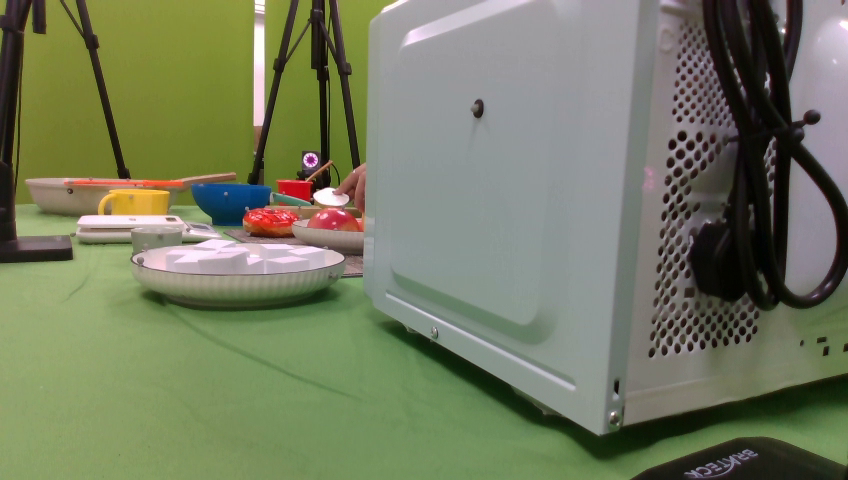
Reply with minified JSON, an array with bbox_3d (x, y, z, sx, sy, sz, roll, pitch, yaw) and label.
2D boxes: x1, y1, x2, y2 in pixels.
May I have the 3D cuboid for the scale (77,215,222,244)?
[{"bbox_3d":[-0.434,-0.019,0.963,0.202,0.031,0.148,-1,9,-27],"label":"scale"}]

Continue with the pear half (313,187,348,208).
[{"bbox_3d":[-0.189,-0.077,1.208,0.071,0.031,0.087,14,23,-16],"label":"pear half"}]

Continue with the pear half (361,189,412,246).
[{"bbox_3d":[-0.056,-0.049,0.911,0.076,0.056,0.109,3,47,-17],"label":"pear half"}]

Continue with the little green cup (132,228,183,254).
[{"bbox_3d":[-0.342,0.006,0.779,0.061,0.038,0.061,2,8,0],"label":"little green cup"}]

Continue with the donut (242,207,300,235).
[{"bbox_3d":[-0.263,-0.032,1.039,0.099,0.048,0.099,4,9,0],"label":"donut"}]

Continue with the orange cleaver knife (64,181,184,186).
[{"bbox_3d":[-0.595,-0.114,1.212,0.212,0.012,0.077,-4,7,-41],"label":"orange cleaver knife"}]

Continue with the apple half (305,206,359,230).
[{"bbox_3d":[-0.137,-0.024,0.914,0.081,0.053,0.074,1,9,-37],"label":"apple half"}]

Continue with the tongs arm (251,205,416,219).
[{"bbox_3d":[-0.211,-0.067,1.440,0.389,0.027,0.028,0,-1,-17],"label":"tongs arm"}]

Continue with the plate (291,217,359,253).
[{"bbox_3d":[-0.103,-0.009,0.945,0.209,0.038,0.209,2,7,0],"label":"plate"}]

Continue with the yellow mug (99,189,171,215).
[{"bbox_3d":[-0.519,-0.055,1.080,0.099,0.064,0.131,7,10,26],"label":"yellow mug"}]

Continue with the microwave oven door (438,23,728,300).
[{"bbox_3d":[0.181,-0.073,0.621,0.358,0.243,0.039,-2,8,-29],"label":"microwave oven door"}]

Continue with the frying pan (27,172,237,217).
[{"bbox_3d":[-0.624,-0.118,1.387,0.305,0.102,0.490,8,17,32],"label":"frying pan"}]

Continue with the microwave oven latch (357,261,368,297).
[{"bbox_3d":[-0.019,0.033,0.531,0.079,0.029,0.030,-1,7,-27],"label":"microwave oven latch"}]

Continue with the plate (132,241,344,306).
[{"bbox_3d":[-0.187,0.033,0.625,0.208,0.039,0.207,2,8,0],"label":"plate"}]

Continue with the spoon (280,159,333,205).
[{"bbox_3d":[-0.317,-0.159,1.640,0.194,0.022,0.041,-49,31,-20],"label":"spoon"}]

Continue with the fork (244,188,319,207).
[{"bbox_3d":[-0.356,-0.105,1.526,0.208,0.018,0.028,16,-6,-41],"label":"fork"}]

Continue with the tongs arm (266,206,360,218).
[{"bbox_3d":[-0.174,-0.061,1.362,0.387,0.026,0.050,-1,3,-31],"label":"tongs arm"}]

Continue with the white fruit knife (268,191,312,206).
[{"bbox_3d":[-0.364,-0.105,1.464,0.208,0.027,0.016,15,-1,-34],"label":"white fruit knife"}]

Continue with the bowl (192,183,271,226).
[{"bbox_3d":[-0.382,-0.071,1.202,0.151,0.077,0.151,3,7,0],"label":"bowl"}]

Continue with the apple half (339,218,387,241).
[{"bbox_3d":[-0.097,-0.019,0.984,0.081,0.033,0.081,2,8,0],"label":"apple half"}]

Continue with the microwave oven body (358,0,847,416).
[{"bbox_3d":[0.211,-0.047,0.474,0.444,0.260,0.324,-1,7,-28],"label":"microwave oven body"}]
